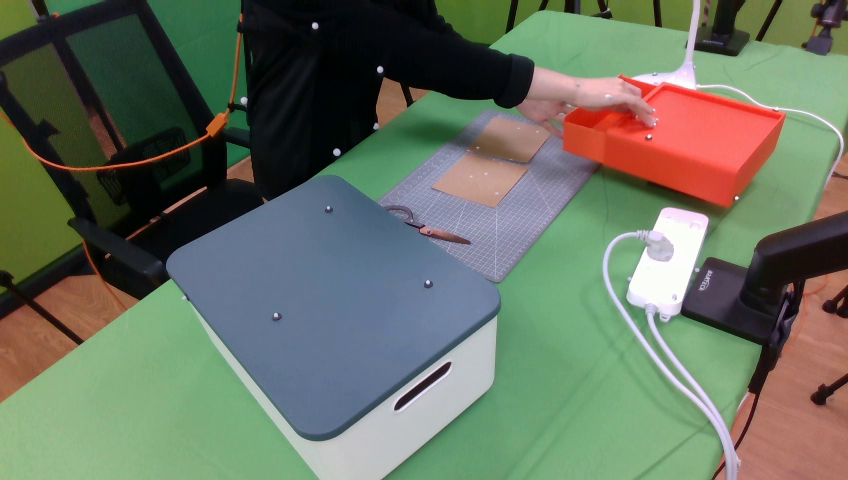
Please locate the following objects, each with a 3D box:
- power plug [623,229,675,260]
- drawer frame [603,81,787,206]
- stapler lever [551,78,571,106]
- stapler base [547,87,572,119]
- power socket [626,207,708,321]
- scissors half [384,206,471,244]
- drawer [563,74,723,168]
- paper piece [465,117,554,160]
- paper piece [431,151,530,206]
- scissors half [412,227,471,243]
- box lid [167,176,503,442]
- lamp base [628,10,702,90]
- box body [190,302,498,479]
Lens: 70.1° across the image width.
[{"bbox_3d":[0.327,0.007,0.878,0.072,0.053,0.035,25,51,33],"label":"power plug"},{"bbox_3d":[0.439,-0.166,0.992,0.212,0.083,0.202,28,51,33],"label":"drawer frame"},{"bbox_3d":[0.287,-0.320,1.270,0.027,0.040,0.117,-1,38,3],"label":"stapler lever"},{"bbox_3d":[0.289,-0.299,1.285,0.041,0.024,0.130,-1,39,2],"label":"stapler base"},{"bbox_3d":[0.360,0.026,0.886,0.072,0.033,0.227,16,46,26],"label":"power socket"},{"bbox_3d":[0.001,-0.024,1.005,0.174,0.013,0.040,22,57,25],"label":"scissors half"},{"bbox_3d":[0.379,-0.195,1.037,0.210,0.073,0.195,28,51,34],"label":"drawer"},{"bbox_3d":[0.171,-0.201,1.195,0.137,0.009,0.136,17,42,27],"label":"paper piece"},{"bbox_3d":[0.104,-0.116,1.104,0.135,0.004,0.136,20,47,29],"label":"paper piece"},{"bbox_3d":[-0.007,-0.010,0.993,0.174,0.013,0.040,8,47,15],"label":"scissors half"},{"bbox_3d":[-0.119,0.047,0.714,0.264,0.015,0.368,-32,47,-27],"label":"box lid"},{"bbox_3d":[0.484,-0.364,1.211,0.180,0.181,0.159,-15,41,-14],"label":"lamp base"},{"bbox_3d":[-0.110,0.103,0.761,0.255,0.161,0.361,-33,46,-27],"label":"box body"}]
